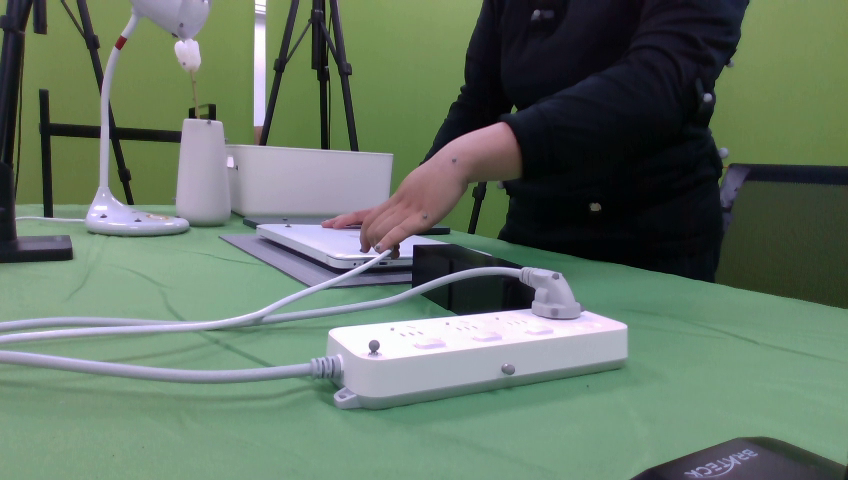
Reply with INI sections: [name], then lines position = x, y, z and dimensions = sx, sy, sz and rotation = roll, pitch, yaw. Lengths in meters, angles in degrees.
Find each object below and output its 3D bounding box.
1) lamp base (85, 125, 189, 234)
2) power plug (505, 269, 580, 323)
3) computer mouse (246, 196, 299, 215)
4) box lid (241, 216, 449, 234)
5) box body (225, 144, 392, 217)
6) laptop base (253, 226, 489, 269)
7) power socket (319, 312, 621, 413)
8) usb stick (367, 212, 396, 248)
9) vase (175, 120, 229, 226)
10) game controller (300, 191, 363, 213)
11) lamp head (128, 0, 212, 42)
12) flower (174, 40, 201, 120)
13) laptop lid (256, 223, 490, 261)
[lamp base]
position = -0.498, -0.105, 1.026
dimensions = 0.179, 0.180, 0.160
rotation = 1, 7, 3
[power plug]
position = 0.092, 0.051, 0.469
dimensions = 0.035, 0.052, 0.072
rotation = -1, 6, -15
[computer mouse]
position = -0.355, -0.082, 1.417
dimensions = 0.117, 0.041, 0.063
rotation = 1, 9, 7
[box lid]
position = -0.162, -0.030, 1.233
dimensions = 0.373, 0.015, 0.262
rotation = -1, 8, -32
[box body]
position = -0.289, -0.143, 1.474
dimensions = 0.366, 0.160, 0.253
rotation = -1, 9, -29
[laptop base]
position = -0.096, 0.011, 0.911
dimensions = 0.237, 0.023, 0.352
rotation = 3, 6, -32
[power socket]
position = 0.038, 0.075, 0.409
dimensions = 0.228, 0.032, 0.072
rotation = -2, 8, -28
[usb stick]
position = -0.051, -0.015, 0.717
dimensions = 0.027, 0.021, 0.059
rotation = -33, 24, 7
[vase]
position = -0.425, -0.128, 1.158
dimensions = 0.098, 0.200, 0.098
rotation = 2, 9, 0
[game controller]
position = -0.241, -0.098, 1.549
dimensions = 0.155, 0.051, 0.097
rotation = 2, 9, 5
[lamp head]
position = -0.423, -0.394, 0.980
dimensions = 0.123, 0.112, 0.112
rotation = 20, 7, -3
[flower]
position = -0.430, -0.211, 1.165
dimensions = 0.044, 0.361, 0.038
rotation = -10, -5, -22
[laptop lid]
position = -0.093, 0.000, 0.911
dimensions = 0.243, 0.013, 0.355
rotation = 2, 7, -30
